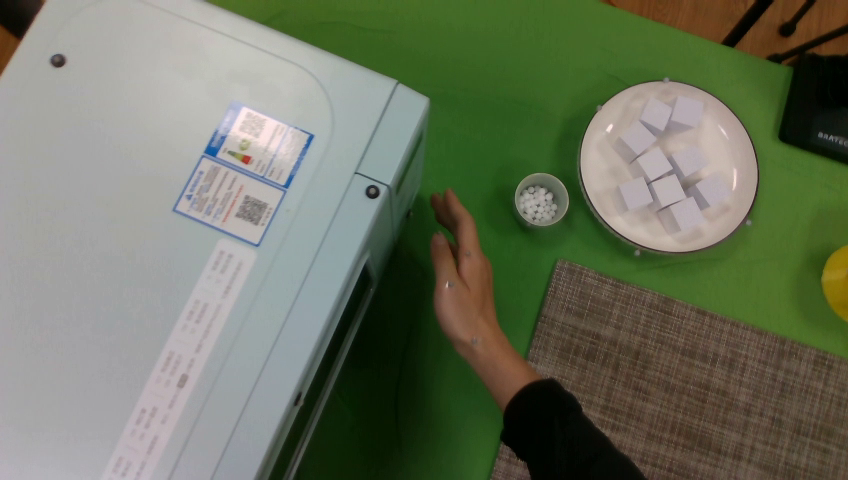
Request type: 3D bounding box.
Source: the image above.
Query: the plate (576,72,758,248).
[{"bbox_3d":[0.277,-0.090,0.704,0.208,0.039,0.207,0,80,-2],"label":"plate"}]

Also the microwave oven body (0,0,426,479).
[{"bbox_3d":[-0.233,0.039,0.541,0.326,0.261,0.440,23,81,1],"label":"microwave oven body"}]

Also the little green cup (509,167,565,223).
[{"bbox_3d":[0.126,-0.048,0.687,0.061,0.039,0.061,0,81,-3],"label":"little green cup"}]

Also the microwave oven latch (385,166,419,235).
[{"bbox_3d":[-0.032,-0.048,0.662,0.030,0.029,0.079,25,81,2],"label":"microwave oven latch"}]

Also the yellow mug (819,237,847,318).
[{"bbox_3d":[0.513,0.055,0.675,0.100,0.064,0.130,-9,81,-5],"label":"yellow mug"}]

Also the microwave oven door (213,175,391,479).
[{"bbox_3d":[-0.115,0.133,0.525,0.039,0.244,0.355,22,80,2],"label":"microwave oven door"}]
